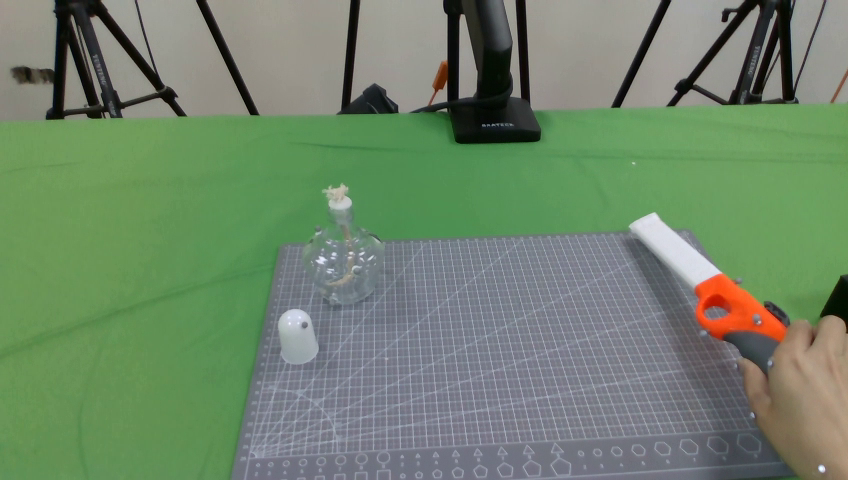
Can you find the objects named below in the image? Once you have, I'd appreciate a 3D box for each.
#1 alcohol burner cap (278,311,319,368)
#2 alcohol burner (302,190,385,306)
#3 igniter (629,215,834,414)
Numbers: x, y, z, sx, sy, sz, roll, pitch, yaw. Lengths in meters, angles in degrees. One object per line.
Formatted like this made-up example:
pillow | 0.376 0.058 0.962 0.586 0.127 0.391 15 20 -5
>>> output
alcohol burner cap | -0.107 0.081 0.514 0.034 0.048 0.033 1 38 0
alcohol burner | -0.075 0.003 0.559 0.078 0.120 0.077 2 39 -1
igniter | 0.256 0.048 0.535 0.057 0.025 0.274 -28 29 6
